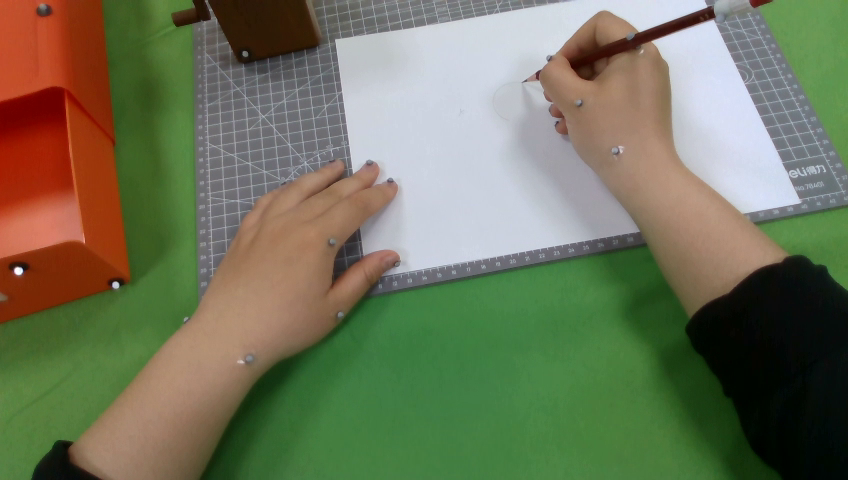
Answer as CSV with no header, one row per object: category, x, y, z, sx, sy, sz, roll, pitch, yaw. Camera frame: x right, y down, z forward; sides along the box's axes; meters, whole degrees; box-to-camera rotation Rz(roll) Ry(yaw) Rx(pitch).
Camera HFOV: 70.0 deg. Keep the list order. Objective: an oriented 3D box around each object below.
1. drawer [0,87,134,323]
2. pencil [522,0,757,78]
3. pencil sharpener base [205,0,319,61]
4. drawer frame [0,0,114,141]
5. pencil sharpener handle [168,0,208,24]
drawer,-0.319,-0.042,0.412,0.194,0.074,0.210,-19,66,-4
pencil,0.120,-0.123,0.375,0.012,0.193,0.012,0,90,-29
pencil sharpener base,-0.130,-0.194,0.448,0.077,0.108,0.061,-16,66,-3
drawer frame,-0.356,-0.144,0.457,0.202,0.083,0.211,-18,65,-4
pencil sharpener handle,-0.179,-0.185,0.434,0.030,0.068,0.035,-16,63,-3
